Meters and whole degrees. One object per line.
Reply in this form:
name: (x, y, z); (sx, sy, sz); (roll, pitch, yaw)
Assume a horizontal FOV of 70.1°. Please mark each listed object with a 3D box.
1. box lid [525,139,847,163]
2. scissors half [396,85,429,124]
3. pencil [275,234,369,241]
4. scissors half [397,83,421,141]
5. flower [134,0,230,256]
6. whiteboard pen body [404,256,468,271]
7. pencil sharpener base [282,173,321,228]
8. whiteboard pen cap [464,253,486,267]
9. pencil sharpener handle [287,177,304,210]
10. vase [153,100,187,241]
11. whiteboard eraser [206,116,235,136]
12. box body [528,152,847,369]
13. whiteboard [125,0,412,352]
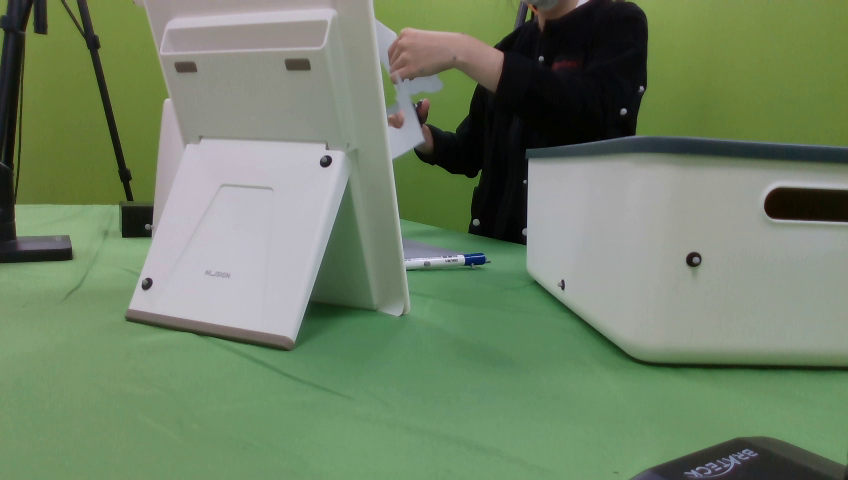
box lid: (0.261, -0.078, 0.580); (0.264, 0.015, 0.371); (2, 7, -4)
scissors half: (-0.020, -0.246, 1.083); (0.013, 0.040, 0.176); (20, 2, 17)
pencil: (-0.169, -0.006, 1.036); (0.195, 0.012, 0.012); (-2, 9, -45)
scissors half: (-0.030, -0.227, 1.080); (0.013, 0.040, 0.175); (25, -17, 18)
flower: (-0.282, -0.147, 0.713); (0.038, 0.362, 0.044); (-23, 24, -31)
whiteboard pen body: (0.013, 0.030, 0.792); (0.141, 0.017, 0.017); (-3, 9, -24)
pencil sharpener base: (-0.247, -0.080, 1.212); (0.061, 0.107, 0.076); (-2, 5, -28)
whiteboard pen cap: (0.066, 0.027, 0.818); (0.033, 0.018, 0.018); (-5, 10, -24)
pencil sharpener handle: (-0.269, -0.096, 1.257); (0.036, 0.067, 0.030); (-8, 8, -27)
vase: (-0.278, -0.066, 0.736); (0.098, 0.200, 0.098); (2, 9, 0)
whiteboard eraser: (-0.450, -0.252, 1.335); (0.056, 0.042, 0.112); (1, 7, -22)
box body: (0.258, -0.005, 0.591); (0.254, 0.160, 0.363); (2, 7, -4)
whiteboard: (-0.151, -0.049, 0.472); (0.216, 0.305, 0.144); (6, 27, 24)
